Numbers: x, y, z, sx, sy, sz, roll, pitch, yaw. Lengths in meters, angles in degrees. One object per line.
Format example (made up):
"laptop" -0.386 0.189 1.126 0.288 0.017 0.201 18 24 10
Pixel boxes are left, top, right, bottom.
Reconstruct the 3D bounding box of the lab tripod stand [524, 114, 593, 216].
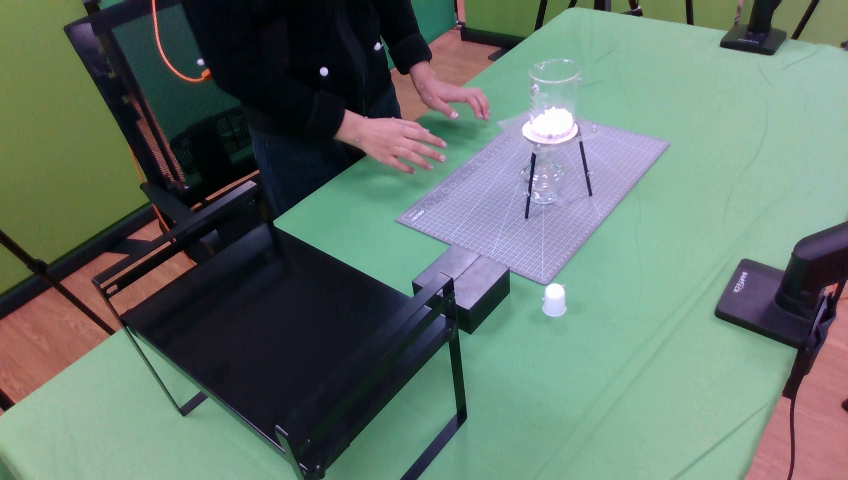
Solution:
"lab tripod stand" 0.210 -0.127 1.001 0.148 0.132 0.147 -4 43 4

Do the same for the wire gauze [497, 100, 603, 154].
"wire gauze" 0.199 -0.179 0.962 0.125 0.011 0.120 -21 42 -12

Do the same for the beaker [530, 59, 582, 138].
"beaker" 0.198 -0.217 0.932 0.074 0.101 0.083 -22 43 -16

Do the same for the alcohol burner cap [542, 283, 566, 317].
"alcohol burner cap" 0.181 0.081 0.839 0.034 0.048 0.033 -3 40 3

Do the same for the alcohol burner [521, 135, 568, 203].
"alcohol burner" 0.201 -0.122 1.012 0.078 0.119 0.077 -6 41 6
